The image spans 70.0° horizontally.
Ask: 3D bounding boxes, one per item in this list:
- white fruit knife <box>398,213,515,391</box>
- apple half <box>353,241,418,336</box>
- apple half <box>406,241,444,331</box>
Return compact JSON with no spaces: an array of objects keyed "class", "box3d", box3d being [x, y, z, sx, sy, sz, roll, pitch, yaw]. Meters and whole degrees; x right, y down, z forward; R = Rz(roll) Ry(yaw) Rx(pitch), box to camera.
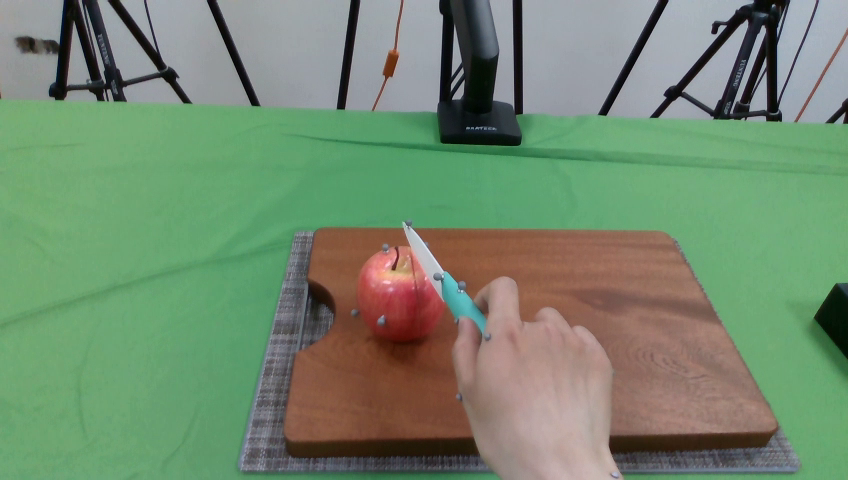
[{"class":"white fruit knife","box3d":[0.016,0.033,0.468,0.016,0.027,0.205,-4,34,-25]},{"class":"apple half","box3d":[-0.035,0.044,0.534,0.053,0.075,0.080,-7,44,-5]},{"class":"apple half","box3d":[0.003,0.041,0.539,0.033,0.082,0.080,-6,40,-5]}]
